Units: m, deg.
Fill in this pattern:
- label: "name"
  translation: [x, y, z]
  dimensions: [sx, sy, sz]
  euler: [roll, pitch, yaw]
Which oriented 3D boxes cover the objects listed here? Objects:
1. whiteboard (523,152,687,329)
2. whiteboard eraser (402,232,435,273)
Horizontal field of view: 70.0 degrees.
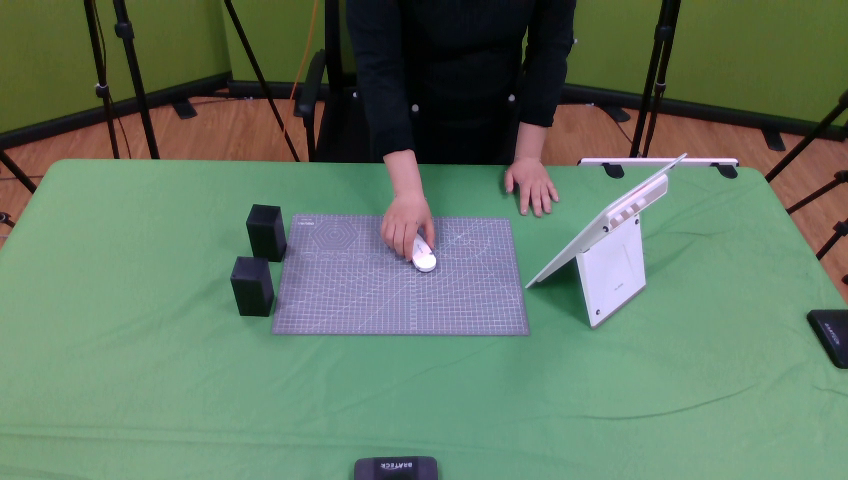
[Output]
- label: "whiteboard"
  translation: [0.346, 0.025, 1.046]
  dimensions: [0.217, 0.306, 0.143]
  euler: [-30, 74, -29]
- label: "whiteboard eraser"
  translation: [-0.011, 0.023, 1.172]
  dimensions: [0.041, 0.019, 0.100]
  euler: [-15, 48, -18]
